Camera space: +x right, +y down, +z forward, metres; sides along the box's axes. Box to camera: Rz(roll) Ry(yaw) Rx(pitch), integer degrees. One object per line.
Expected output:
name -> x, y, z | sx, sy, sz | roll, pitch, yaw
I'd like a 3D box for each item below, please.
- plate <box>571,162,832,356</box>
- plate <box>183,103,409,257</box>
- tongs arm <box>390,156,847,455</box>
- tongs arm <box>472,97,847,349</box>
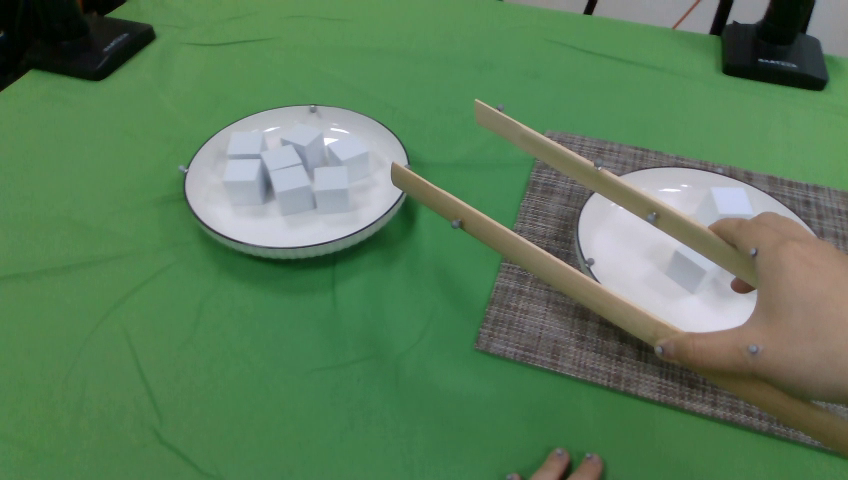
plate -> 0.228, 0.014, 0.517 | 0.208, 0.039, 0.205 | 1, 48, 0
plate -> -0.118, -0.057, 0.581 | 0.209, 0.038, 0.207 | 1, 47, -1
tongs arm -> 0.127, 0.036, 0.373 | 0.384, 0.028, 0.028 | 31, 54, 24
tongs arm -> 0.164, 0.006, 0.396 | 0.381, 0.027, 0.050 | 36, 59, 26
